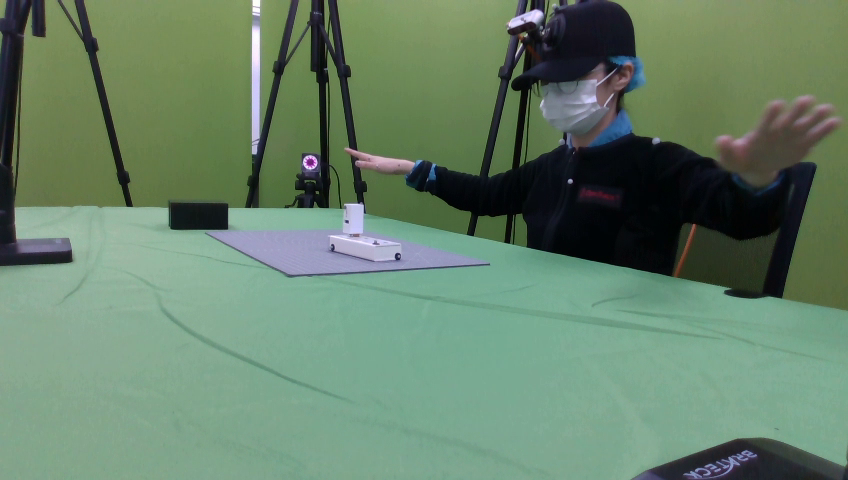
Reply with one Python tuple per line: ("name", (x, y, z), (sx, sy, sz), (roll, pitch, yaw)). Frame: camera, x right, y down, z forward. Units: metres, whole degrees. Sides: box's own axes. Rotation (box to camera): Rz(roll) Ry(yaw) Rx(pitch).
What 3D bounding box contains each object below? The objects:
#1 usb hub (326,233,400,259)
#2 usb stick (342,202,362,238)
("usb hub", (-0.092, 0.008, 0.892), (0.050, 0.025, 0.124), (-5, 9, -40))
("usb stick", (-0.109, -0.027, 0.914), (0.027, 0.059, 0.021), (-8, 13, -42))
